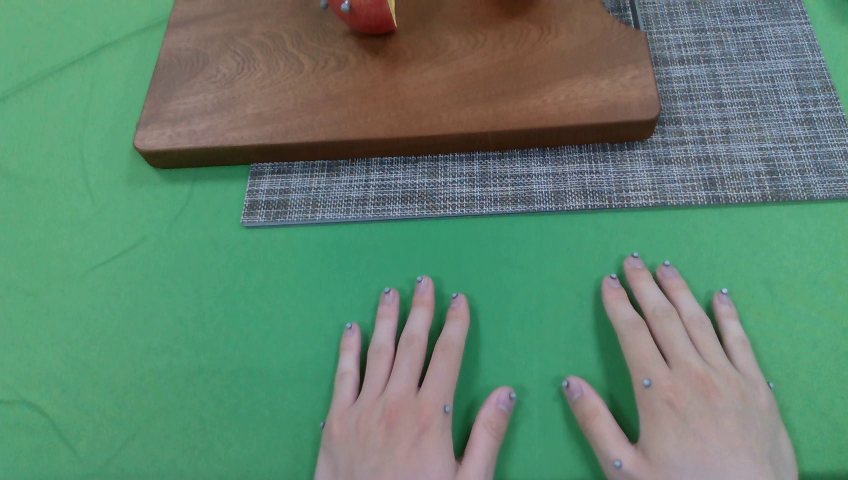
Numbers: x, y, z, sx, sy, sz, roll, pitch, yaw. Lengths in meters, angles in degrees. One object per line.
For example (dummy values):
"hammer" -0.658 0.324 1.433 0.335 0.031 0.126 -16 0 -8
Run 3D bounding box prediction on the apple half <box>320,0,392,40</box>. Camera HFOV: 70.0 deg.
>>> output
"apple half" -0.058 -0.200 0.479 0.053 0.075 0.080 -10 65 6
